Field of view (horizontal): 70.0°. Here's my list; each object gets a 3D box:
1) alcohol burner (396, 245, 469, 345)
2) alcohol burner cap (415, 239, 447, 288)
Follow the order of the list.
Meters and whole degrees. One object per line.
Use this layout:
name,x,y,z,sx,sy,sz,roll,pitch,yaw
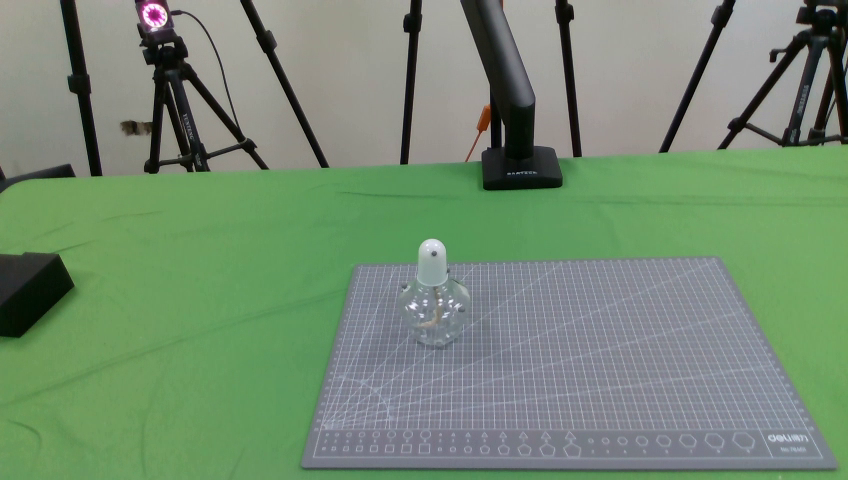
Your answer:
alcohol burner,0.009,0.051,0.630,0.078,0.120,0.077,-2,35,1
alcohol burner cap,0.008,0.021,0.610,0.034,0.048,0.033,2,35,-1
